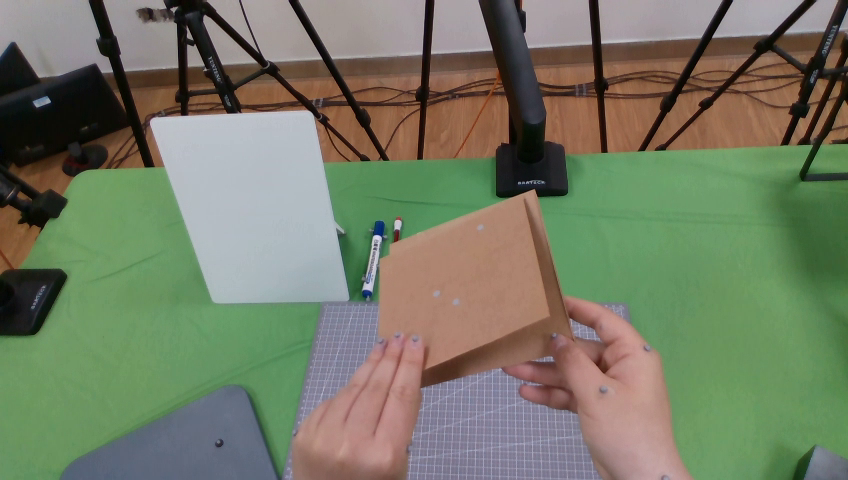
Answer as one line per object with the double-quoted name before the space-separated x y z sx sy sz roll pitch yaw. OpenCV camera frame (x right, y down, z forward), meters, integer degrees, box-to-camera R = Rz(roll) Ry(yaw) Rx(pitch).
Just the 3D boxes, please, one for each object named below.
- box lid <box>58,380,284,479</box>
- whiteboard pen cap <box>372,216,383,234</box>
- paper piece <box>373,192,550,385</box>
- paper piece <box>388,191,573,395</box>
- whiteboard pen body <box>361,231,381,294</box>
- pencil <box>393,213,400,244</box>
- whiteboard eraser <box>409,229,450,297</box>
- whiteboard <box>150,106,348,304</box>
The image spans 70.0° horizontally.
"box lid" -0.284 0.361 0.718 0.263 0.015 0.367 -26 53 -12
"whiteboard pen cap" -0.076 -0.022 0.988 0.018 0.018 0.033 -2 50 7
"paper piece" 0.020 0.030 0.447 0.135 0.004 0.134 -25 37 19
"paper piece" 0.034 0.038 0.466 0.136 0.009 0.137 -22 54 21
"whiteboard pen body" -0.082 0.025 0.953 0.017 0.017 0.139 0 51 8
"pencil" -0.047 0.032 0.946 0.012 0.012 0.192 -3 51 6
"whiteboard eraser" 0.009 0.034 0.918 0.055 0.042 0.111 -2 52 8
"whiteboard" -0.227 -0.069 0.902 0.217 0.308 0.142 -1 33 8
